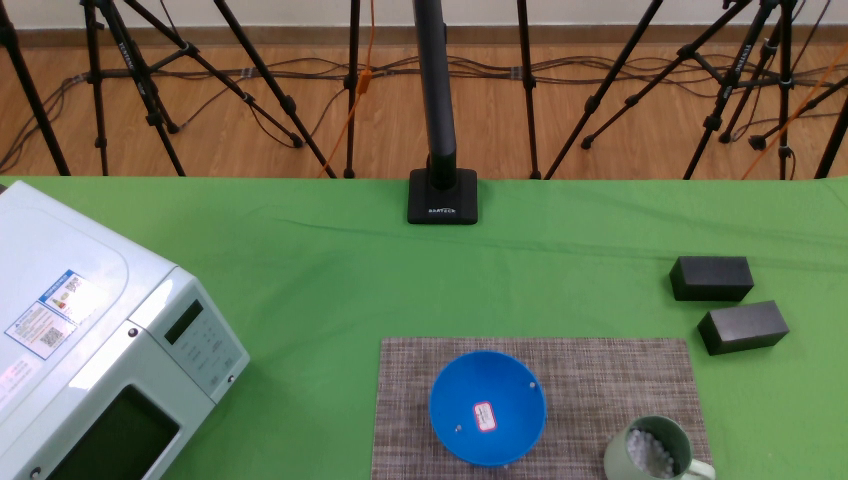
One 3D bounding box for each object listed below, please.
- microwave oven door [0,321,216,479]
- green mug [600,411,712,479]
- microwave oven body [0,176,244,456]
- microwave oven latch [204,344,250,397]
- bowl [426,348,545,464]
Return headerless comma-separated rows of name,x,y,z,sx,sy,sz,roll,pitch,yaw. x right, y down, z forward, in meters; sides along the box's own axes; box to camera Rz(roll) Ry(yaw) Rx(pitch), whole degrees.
microwave oven door,-0.393,0.282,0.665,0.039,0.246,0.354,24,60,18
green mug,0.289,0.272,0.750,0.125,0.106,0.092,16,58,12
microwave oven body,-0.499,0.196,0.730,0.324,0.262,0.440,25,61,16
microwave oven latch,-0.280,0.179,0.852,0.030,0.030,0.079,26,62,17
bowl,0.079,0.227,0.802,0.151,0.077,0.150,-1,56,2
